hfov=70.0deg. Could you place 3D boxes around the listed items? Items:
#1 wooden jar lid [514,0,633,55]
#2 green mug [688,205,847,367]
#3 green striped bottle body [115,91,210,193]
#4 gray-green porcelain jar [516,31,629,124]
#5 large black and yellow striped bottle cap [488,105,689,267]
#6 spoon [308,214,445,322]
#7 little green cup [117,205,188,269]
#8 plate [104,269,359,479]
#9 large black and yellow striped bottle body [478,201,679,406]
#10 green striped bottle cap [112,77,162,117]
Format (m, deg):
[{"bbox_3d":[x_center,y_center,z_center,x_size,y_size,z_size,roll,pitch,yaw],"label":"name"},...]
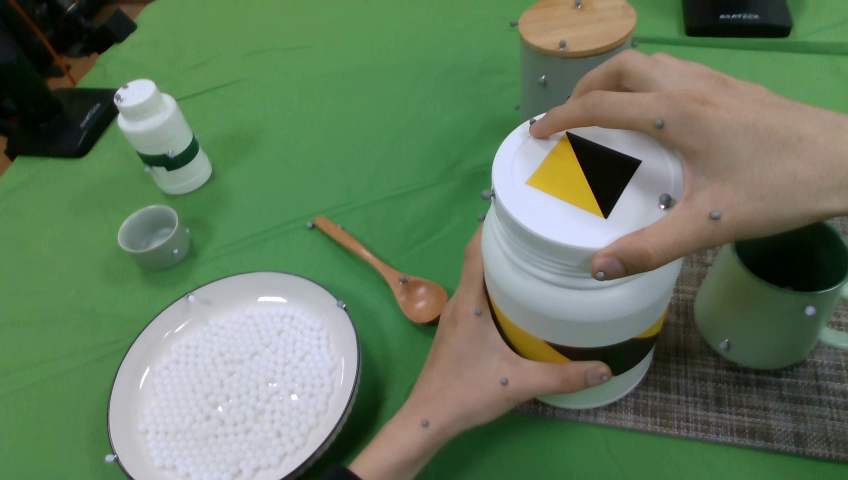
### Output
[{"bbox_3d":[0.140,-0.202,0.572,0.108,0.021,0.107,-6,49,8],"label":"wooden jar lid"},{"bbox_3d":[0.271,0.043,0.452,0.124,0.106,0.092,24,59,25],"label":"green mug"},{"bbox_3d":[-0.284,-0.112,0.654,0.063,0.120,0.062,-5,51,6],"label":"green striped bottle body"},{"bbox_3d":[0.147,-0.160,0.619,0.106,0.128,0.105,-4,48,5],"label":"gray-green porcelain jar"},{"bbox_3d":[0.095,-0.036,0.357,0.115,0.019,0.114,-3,53,5],"label":"large black and yellow striped bottle cap"},{"bbox_3d":[-0.052,0.018,0.578,0.192,0.022,0.041,36,79,30],"label":"spoon"},{"bbox_3d":[-0.274,-0.001,0.617,0.061,0.039,0.061,-4,51,5],"label":"little green cup"},{"bbox_3d":[-0.154,0.118,0.506,0.209,0.038,0.207,-4,51,5],"label":"plate"},{"bbox_3d":[0.106,0.025,0.439,0.130,0.186,0.129,-4,52,6],"label":"large black and yellow striped bottle body"},{"bbox_3d":[-0.291,-0.144,0.614,0.044,0.020,0.044,-3,53,4],"label":"green striped bottle cap"}]
